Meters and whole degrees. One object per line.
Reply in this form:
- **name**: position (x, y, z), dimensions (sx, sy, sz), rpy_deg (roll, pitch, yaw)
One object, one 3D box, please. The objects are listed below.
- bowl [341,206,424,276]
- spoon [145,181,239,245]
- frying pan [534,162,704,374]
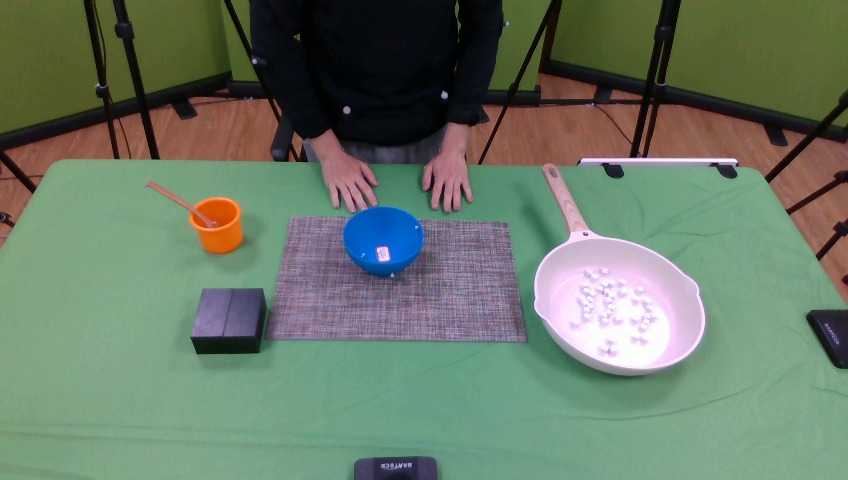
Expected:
- **bowl**: position (-0.079, 0.014, 1.133), dimensions (0.151, 0.077, 0.150), rpy_deg (2, 46, -2)
- **spoon**: position (-0.429, -0.052, 1.126), dimensions (0.021, 0.195, 0.041), rpy_deg (-27, 34, 33)
- **frying pan**: position (0.314, 0.034, 1.133), dimensions (0.307, 0.103, 0.484), rpy_deg (-7, 56, -12)
